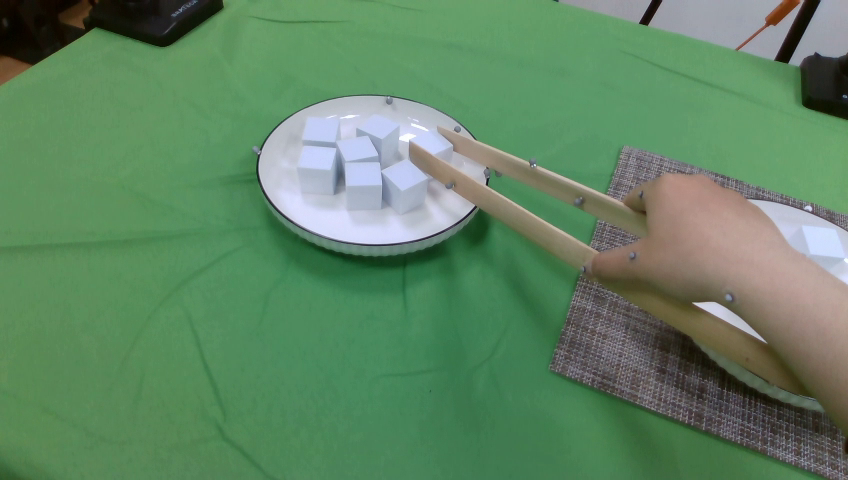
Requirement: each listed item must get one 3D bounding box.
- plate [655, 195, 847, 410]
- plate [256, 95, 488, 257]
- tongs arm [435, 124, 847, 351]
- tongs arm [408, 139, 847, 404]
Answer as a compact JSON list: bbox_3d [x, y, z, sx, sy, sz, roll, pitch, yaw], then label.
[{"bbox_3d":[0.290,0.047,0.497,0.208,0.039,0.205,3,48,-3],"label":"plate"},{"bbox_3d":[-0.046,-0.059,0.560,0.209,0.038,0.207,4,48,-4],"label":"plate"},{"bbox_3d":[0.129,-0.012,0.455,0.051,0.027,0.381,-36,48,-28],"label":"tongs arm"},{"bbox_3d":[0.110,0.000,0.445,0.028,0.028,0.383,-30,45,-27],"label":"tongs arm"}]
